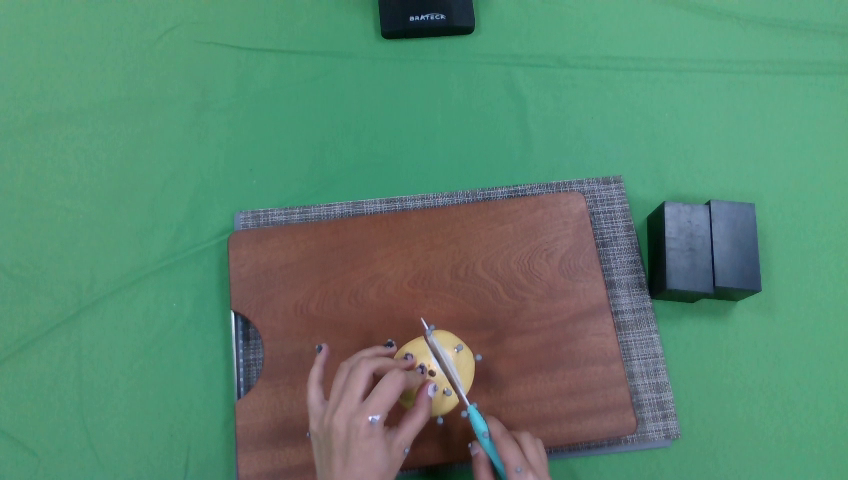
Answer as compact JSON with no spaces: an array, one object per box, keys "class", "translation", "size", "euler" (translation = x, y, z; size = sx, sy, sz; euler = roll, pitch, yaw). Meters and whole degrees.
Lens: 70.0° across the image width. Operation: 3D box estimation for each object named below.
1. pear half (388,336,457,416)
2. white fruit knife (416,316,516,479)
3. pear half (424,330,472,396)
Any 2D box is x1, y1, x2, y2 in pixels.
[{"class":"pear half","translation":[-0.006,0.132,0.568],"size":[0.056,0.110,0.076],"euler":[-35,75,-9]},{"class":"white fruit knife","translation":[0.042,0.163,0.573],"size":[0.016,0.027,0.207],"euler":[-29,86,-12]},{"class":"pear half","translation":[0.028,0.113,0.586],"size":[0.031,0.088,0.070],"euler":[-33,75,-17]}]
